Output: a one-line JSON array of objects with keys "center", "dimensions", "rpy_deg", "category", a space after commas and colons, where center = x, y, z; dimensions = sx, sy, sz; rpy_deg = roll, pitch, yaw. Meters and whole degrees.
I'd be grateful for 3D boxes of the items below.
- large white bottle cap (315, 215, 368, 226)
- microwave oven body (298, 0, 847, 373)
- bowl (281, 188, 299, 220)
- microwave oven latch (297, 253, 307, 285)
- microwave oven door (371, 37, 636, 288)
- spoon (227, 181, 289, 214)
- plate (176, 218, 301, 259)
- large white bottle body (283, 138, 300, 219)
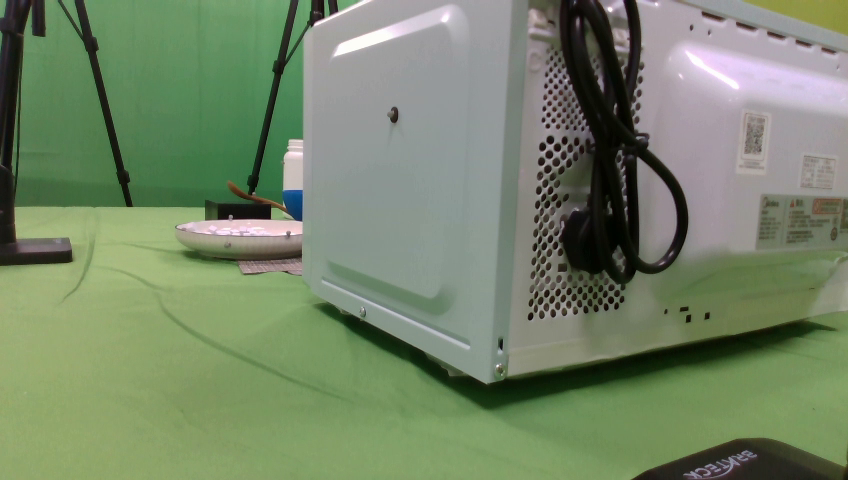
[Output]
[{"center": [-0.178, -0.041, 1.309], "dimensions": [0.115, 0.018, 0.115], "rpy_deg": [2, 6, 0], "category": "large white bottle cap"}, {"center": [0.151, -0.055, 0.542], "dimensions": [0.444, 0.260, 0.324], "rpy_deg": [-1, 7, -33], "category": "microwave oven body"}, {"center": [-0.190, -0.053, 1.129], "dimensions": [0.151, 0.077, 0.151], "rpy_deg": [3, 8, 0], "category": "bowl"}, {"center": [-0.082, 0.027, 0.582], "dimensions": [0.079, 0.029, 0.030], "rpy_deg": [-1, 8, -33], "category": "microwave oven latch"}, {"center": [0.109, -0.080, 0.686], "dimensions": [0.358, 0.243, 0.039], "rpy_deg": [-2, 9, -33], "category": "microwave oven door"}, {"center": [-0.315, -0.074, 1.235], "dimensions": [0.195, 0.021, 0.041], "rpy_deg": [24, -10, -37], "category": "spoon"}, {"center": [-0.248, -0.003, 0.877], "dimensions": [0.209, 0.038, 0.209], "rpy_deg": [1, 8, 0], "category": "plate"}, {"center": [-0.265, -0.143, 1.424], "dimensions": [0.131, 0.184, 0.130], "rpy_deg": [2, 7, 0], "category": "large white bottle body"}]
